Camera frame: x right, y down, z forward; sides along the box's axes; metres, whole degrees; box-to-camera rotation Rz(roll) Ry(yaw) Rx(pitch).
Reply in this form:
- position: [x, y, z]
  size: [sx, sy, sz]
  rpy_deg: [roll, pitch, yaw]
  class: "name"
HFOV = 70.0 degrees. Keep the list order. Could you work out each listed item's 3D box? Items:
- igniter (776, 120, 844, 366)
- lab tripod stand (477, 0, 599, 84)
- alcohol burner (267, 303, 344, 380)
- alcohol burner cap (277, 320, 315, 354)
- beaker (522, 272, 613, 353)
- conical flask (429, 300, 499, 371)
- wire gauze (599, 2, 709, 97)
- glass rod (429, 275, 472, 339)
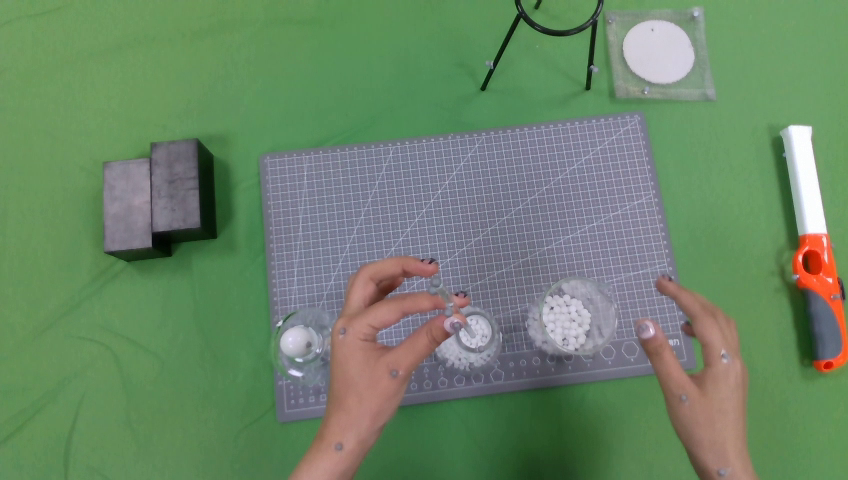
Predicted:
- position: [0.427, -0.001, 0.673]
  size: [0.057, 0.025, 0.275]
  rpy_deg: [1, 78, -11]
  class: "igniter"
- position: [0.127, -0.233, 0.663]
  size: [0.148, 0.132, 0.148]
  rpy_deg: [0, 80, 0]
  class: "lab tripod stand"
- position: [-0.121, 0.099, 0.599]
  size: [0.078, 0.119, 0.077]
  rpy_deg: [0, 77, 2]
  class: "alcohol burner"
- position: [-0.120, 0.091, 0.564]
  size: [0.034, 0.048, 0.033]
  rpy_deg: [1, 81, -4]
  class: "alcohol burner cap"
- position: [0.143, 0.075, 0.615]
  size: [0.084, 0.100, 0.074]
  rpy_deg: [-40, 81, -9]
  class: "beaker"
- position: [0.043, 0.091, 0.599]
  size: [0.075, 0.122, 0.075]
  rpy_deg: [0, 77, 0]
  class: "conical flask"
- position: [0.277, -0.230, 0.728]
  size: [0.125, 0.011, 0.121]
  rpy_deg: [-1, 79, -3]
  class: "wire gauze"
- position: [0.022, 0.053, 0.437]
  size: [0.008, 0.201, 0.008]
  rpy_deg: [-3, 71, 9]
  class: "glass rod"
